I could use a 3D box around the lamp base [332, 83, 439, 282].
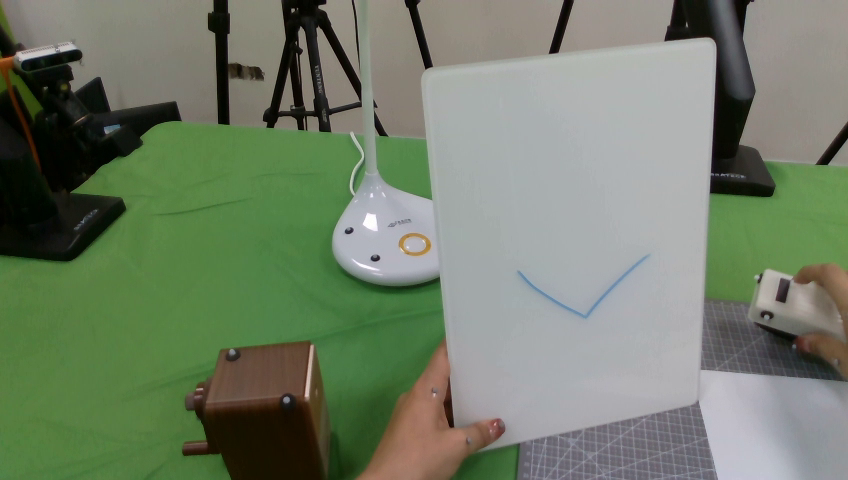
[{"bbox_3d":[-0.038,-0.071,0.672,0.161,0.182,0.177,-25,41,-28],"label":"lamp base"}]

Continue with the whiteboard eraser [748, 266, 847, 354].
[{"bbox_3d":[0.360,0.067,0.551,0.112,0.042,0.055,20,54,22],"label":"whiteboard eraser"}]

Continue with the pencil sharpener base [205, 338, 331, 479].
[{"bbox_3d":[-0.116,0.133,0.462,0.077,0.108,0.060,-4,37,-3],"label":"pencil sharpener base"}]

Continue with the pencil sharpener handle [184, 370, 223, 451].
[{"bbox_3d":[-0.167,0.129,0.448,0.031,0.068,0.035,-4,24,-3],"label":"pencil sharpener handle"}]

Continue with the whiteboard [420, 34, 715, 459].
[{"bbox_3d":[0.106,-0.004,0.521,0.217,0.307,0.143,-9,18,-8],"label":"whiteboard"}]
